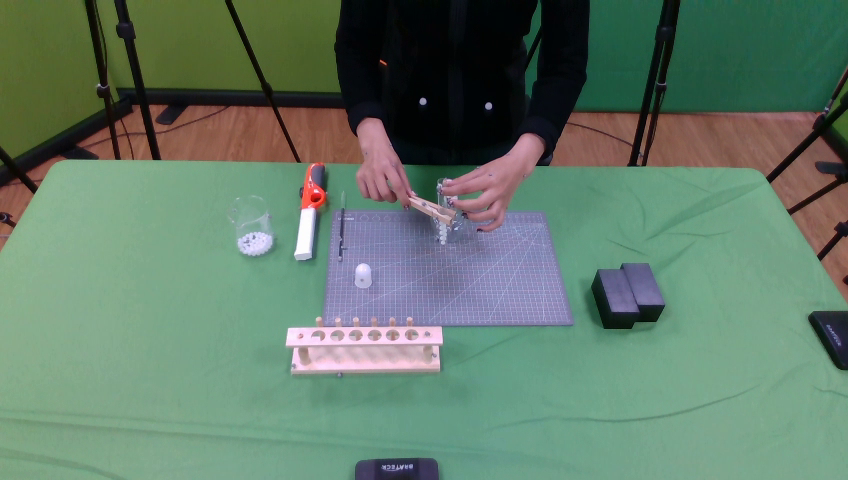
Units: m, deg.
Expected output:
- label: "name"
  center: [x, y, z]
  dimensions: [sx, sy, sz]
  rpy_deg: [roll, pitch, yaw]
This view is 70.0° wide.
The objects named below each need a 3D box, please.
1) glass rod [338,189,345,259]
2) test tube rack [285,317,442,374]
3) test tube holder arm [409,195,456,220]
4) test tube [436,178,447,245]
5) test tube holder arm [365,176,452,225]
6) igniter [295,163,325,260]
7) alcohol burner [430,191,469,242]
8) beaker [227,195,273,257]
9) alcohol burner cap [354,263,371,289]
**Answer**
- label: "glass rod"
  center: [-0.166, -0.036, 1.227]
  dimensions: [0.008, 0.008, 0.198]
  rpy_deg: [0, 46, -4]
- label: "test tube rack"
  center: [-0.095, 0.166, 0.988]
  dimensions: [0.242, 0.085, 0.066]
  rpy_deg: [0, 46, -4]
- label: "test tube holder arm"
  center: [0.013, -0.056, 1.039]
  dimensions: [0.087, 0.015, 0.010]
  rpy_deg: [20, 47, 14]
- label: "test tube"
  center: [0.031, -0.045, 1.028]
  dimensions: [0.017, 0.151, 0.017]
  rpy_deg: [-2, 47, 2]
- label: "test tube holder arm"
  center: [-0.029, -0.070, 1.049]
  dimensions: [0.178, 0.015, 0.013]
  rpy_deg: [26, 49, 20]
- label: "igniter"
  center: [-0.234, -0.067, 1.243]
  dimensions: [0.057, 0.025, 0.274]
  rpy_deg: [-6, 46, 4]
- label: "alcohol burner"
  center: [0.052, -0.053, 1.185]
  dimensions: [0.078, 0.119, 0.077]
  rpy_deg: [2, 48, -2]
- label: "beaker"
  center: [-0.326, -0.022, 1.142]
  dimensions: [0.074, 0.101, 0.083]
  rpy_deg: [10, 47, 6]
- label: "alcohol burner cap"
  center: [-0.113, 0.063, 1.111]
  dimensions: [0.034, 0.048, 0.033]
  rpy_deg: [2, 45, -2]
